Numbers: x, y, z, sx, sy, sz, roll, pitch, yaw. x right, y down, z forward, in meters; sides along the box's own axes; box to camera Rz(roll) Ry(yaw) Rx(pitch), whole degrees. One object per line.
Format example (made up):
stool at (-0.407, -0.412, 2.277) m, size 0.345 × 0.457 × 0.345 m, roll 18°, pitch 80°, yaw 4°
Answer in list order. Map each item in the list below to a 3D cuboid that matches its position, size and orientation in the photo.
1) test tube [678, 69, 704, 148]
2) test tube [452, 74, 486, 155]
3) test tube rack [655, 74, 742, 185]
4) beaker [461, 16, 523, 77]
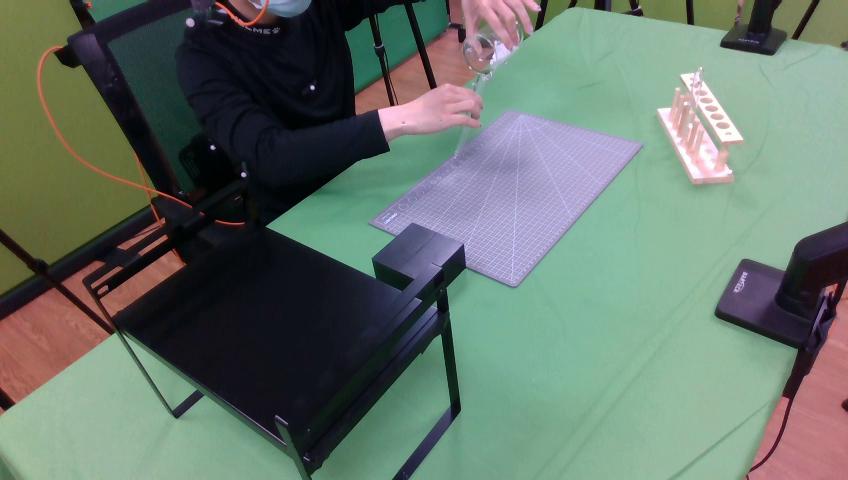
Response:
test tube at (0.465, -0.228, 1.054) m, size 0.017 × 0.151 × 0.017 m, roll -4°, pitch 41°, yaw 4°
test tube at (0.081, -0.226, 1.093) m, size 0.017 × 0.150 × 0.017 m, roll 18°, pitch 10°, yaw -3°
test tube rack at (0.488, -0.205, 1.093) m, size 0.067 × 0.085 × 0.241 m, roll -3°, pitch 41°, yaw 5°
beaker at (0.127, -0.350, 1.086) m, size 0.073 × 0.084 × 0.100 m, roll -5°, pitch 33°, yaw 50°
